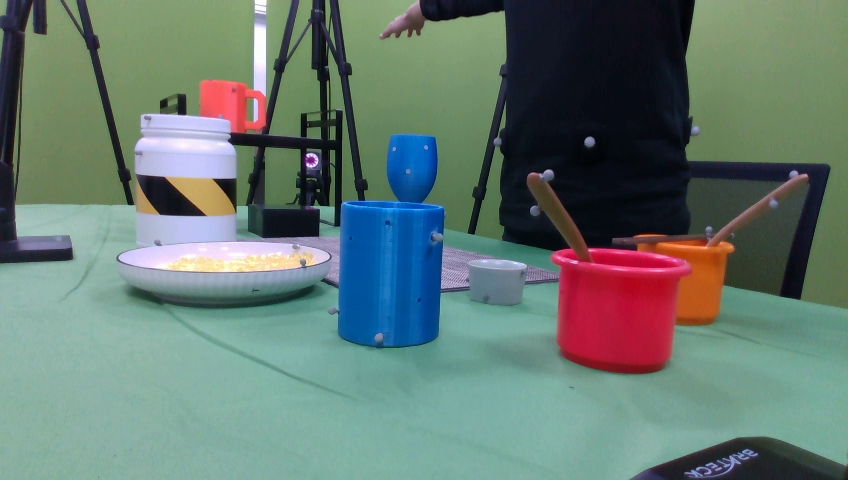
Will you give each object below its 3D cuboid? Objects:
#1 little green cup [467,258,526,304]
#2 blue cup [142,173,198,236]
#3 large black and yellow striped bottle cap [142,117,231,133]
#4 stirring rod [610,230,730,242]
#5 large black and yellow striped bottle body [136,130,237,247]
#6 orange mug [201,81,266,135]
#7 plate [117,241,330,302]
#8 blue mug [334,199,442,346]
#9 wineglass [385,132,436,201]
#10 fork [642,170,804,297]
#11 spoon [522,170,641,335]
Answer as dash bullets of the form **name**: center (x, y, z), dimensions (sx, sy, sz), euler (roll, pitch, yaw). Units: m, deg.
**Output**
- **little green cup**: center (0.074, 0.042, 0.626), dimensions (0.061, 0.038, 0.061), euler (3, 7, 0)
- **blue cup**: center (-0.425, -0.060, 1.014), dimensions (0.093, 0.100, 0.092), euler (4, 9, 0)
- **large black and yellow striped bottle cap**: center (-0.328, -0.159, 0.839), dimensions (0.115, 0.019, 0.115), euler (1, 9, 0)
- **stirring rod**: center (0.241, -0.005, 0.582), dimensions (0.177, 0.006, 0.014), euler (-3, 10, -34)
- **large black and yellow striped bottle body**: center (-0.332, -0.076, 0.851), dimensions (0.131, 0.184, 0.130), euler (3, 8, 0)
- **orange mug**: center (-0.376, -0.260, 1.198), dimensions (0.126, 0.101, 0.083), euler (-3, 8, -6)
- **plate**: center (-0.203, 0.031, 0.630), dimensions (0.209, 0.038, 0.209), euler (3, 7, 0)
- **blue mug**: center (-0.034, 0.020, 0.498), dimensions (0.083, 0.106, 0.116), euler (0, 7, -20)
- **wineglass**: center (-0.020, -0.061, 0.842), dimensions (0.074, 0.172, 0.073), euler (2, 7, 0)
- **fork**: center (0.261, 0.004, 0.545), dimensions (0.028, 0.018, 0.207), euler (6, -38, -15)
- **spoon**: center (0.110, 0.016, 0.424), dimensions (0.041, 0.021, 0.194), euler (7, -36, 43)
